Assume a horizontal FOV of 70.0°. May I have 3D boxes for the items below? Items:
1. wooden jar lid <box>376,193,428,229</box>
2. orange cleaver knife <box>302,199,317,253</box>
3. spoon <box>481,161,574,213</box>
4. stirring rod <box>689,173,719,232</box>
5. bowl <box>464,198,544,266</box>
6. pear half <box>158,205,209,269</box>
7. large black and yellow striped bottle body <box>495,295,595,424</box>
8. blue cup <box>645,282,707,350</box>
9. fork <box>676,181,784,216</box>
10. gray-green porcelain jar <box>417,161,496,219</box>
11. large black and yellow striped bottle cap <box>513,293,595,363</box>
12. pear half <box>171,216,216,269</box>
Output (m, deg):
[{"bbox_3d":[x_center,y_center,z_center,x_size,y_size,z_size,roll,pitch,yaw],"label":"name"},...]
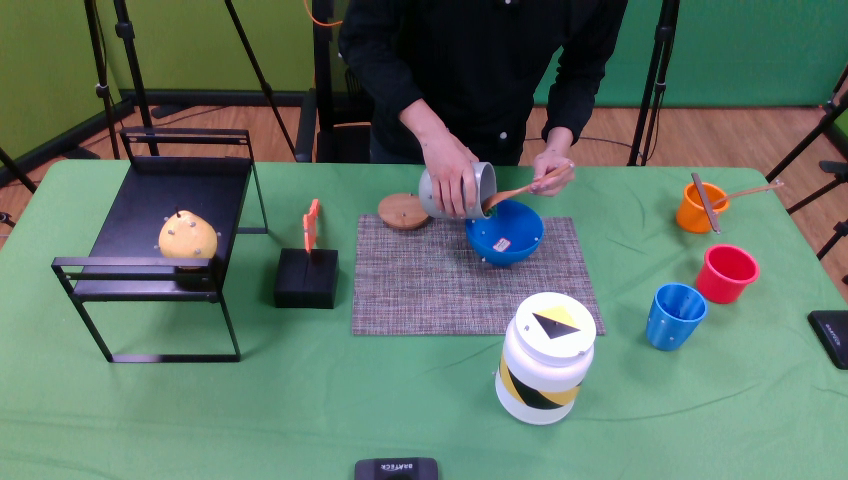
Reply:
[{"bbox_3d":[-0.044,-0.059,1.246,0.108,0.021,0.107,3,40,-3],"label":"wooden jar lid"},{"bbox_3d":[-0.219,-0.031,1.168,0.012,0.077,0.210,-5,17,-3],"label":"orange cleaver knife"},{"bbox_3d":[0.183,-0.096,1.095,0.193,0.022,0.041,-23,23,23],"label":"spoon"},{"bbox_3d":[0.566,-0.079,1.225,0.014,0.006,0.175,2,45,2],"label":"stirring rod"},{"bbox_3d":[0.149,-0.003,1.168,0.151,0.077,0.150,2,46,-2],"label":"bowl"},{"bbox_3d":[-0.352,-0.015,0.872,0.056,0.110,0.076,26,46,20],"label":"pear half"},{"bbox_3d":[0.183,0.182,0.923,0.131,0.185,0.130,2,46,-2],"label":"large black and yellow striped bottle body"},{"bbox_3d":[0.425,0.136,1.042,0.093,0.101,0.092,1,45,-1],"label":"blue cup"},{"bbox_3d":[0.618,-0.084,1.235,0.207,0.019,0.028,-23,20,38],"label":"fork"},{"bbox_3d":[0.059,-0.093,1.130,0.126,0.106,0.105,2,43,24],"label":"gray-green porcelain jar"},{"bbox_3d":[0.186,0.123,0.863,0.115,0.019,0.114,3,45,-3],"label":"large black and yellow striped bottle cap"},{"bbox_3d":[-0.323,0.007,0.866,0.031,0.088,0.070,25,47,20],"label":"pear half"}]
